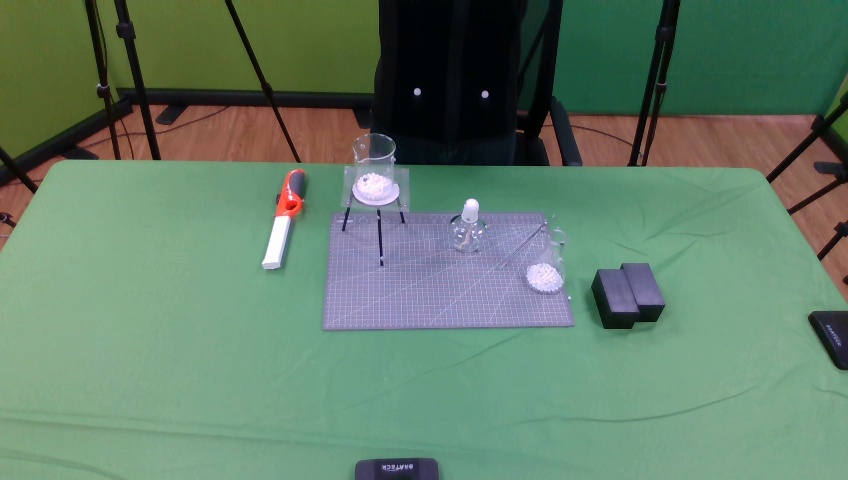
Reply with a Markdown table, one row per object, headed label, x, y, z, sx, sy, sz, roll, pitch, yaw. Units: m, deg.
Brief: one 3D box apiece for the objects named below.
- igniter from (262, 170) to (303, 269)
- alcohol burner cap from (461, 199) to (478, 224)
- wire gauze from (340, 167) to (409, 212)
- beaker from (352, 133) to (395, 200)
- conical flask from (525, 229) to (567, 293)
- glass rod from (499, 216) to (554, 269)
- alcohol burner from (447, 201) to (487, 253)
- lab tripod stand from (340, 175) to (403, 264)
| label | x | y | z | sx | sy | sz | roll | pitch | yaw |
| --- | --- | --- | --- | --- | --- | --- | --- | --- | --- |
| igniter | -0.283 | -0.050 | 1.222 | 0.057 | 0.025 | 0.275 | -4 | 45 | 6 |
| alcohol burner cap | 0.087 | -0.057 | 1.144 | 0.034 | 0.048 | 0.033 | 2 | 52 | -2 |
| wire gauze | -0.091 | -0.095 | 1.111 | 0.125 | 0.011 | 0.120 | 1 | 43 | -2 |
| beaker | -0.091 | -0.126 | 1.074 | 0.074 | 0.101 | 0.084 | 26 | 48 | 21 |
| conical flask | 0.231 | 0.036 | 1.110 | 0.075 | 0.122 | 0.075 | 2 | 46 | -2 |
| glass rod | 0.208 | 0.002 | 1.219 | 0.008 | 0.008 | 0.199 | 32 | 52 | 25 |
| alcohol burner | 0.085 | -0.033 | 1.171 | 0.078 | 0.119 | 0.077 | 4 | 45 | -3 |
| lab tripod stand | -0.093 | -0.050 | 1.160 | 0.148 | 0.132 | 0.147 | 2 | 44 | -2 |
